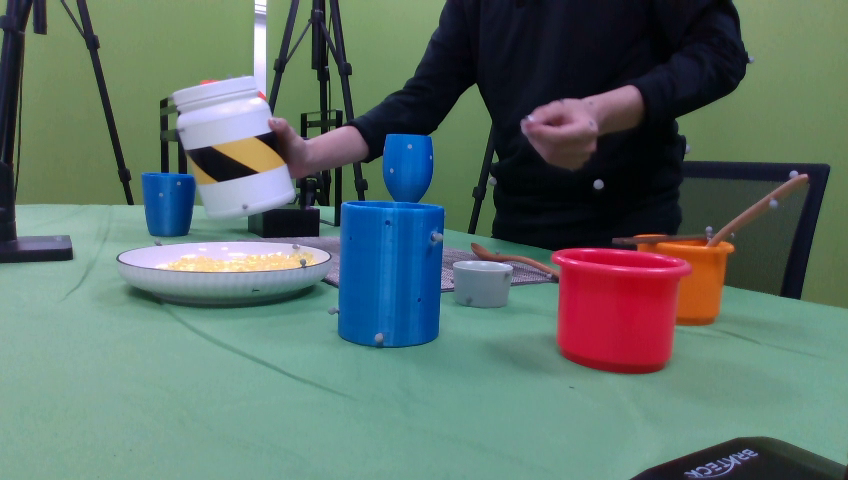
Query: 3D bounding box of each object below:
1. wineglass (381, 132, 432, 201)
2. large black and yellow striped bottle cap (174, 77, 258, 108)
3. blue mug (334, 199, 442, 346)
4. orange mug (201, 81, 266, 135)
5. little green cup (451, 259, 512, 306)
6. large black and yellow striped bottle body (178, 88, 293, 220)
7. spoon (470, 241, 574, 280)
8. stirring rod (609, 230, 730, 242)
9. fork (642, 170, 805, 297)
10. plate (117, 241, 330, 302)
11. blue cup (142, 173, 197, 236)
[{"bbox_3d":[-0.026,-0.061,0.841,0.074,0.172,0.073,2,8,0],"label":"wineglass"},{"bbox_3d":[-0.296,-0.211,0.862,0.115,0.019,0.115,-13,15,4],"label":"large black and yellow striped bottle cap"},{"bbox_3d":[-0.034,0.020,0.498,0.083,0.106,0.116,0,7,-20],"label":"blue mug"},{"bbox_3d":[-0.377,-0.260,1.198,0.126,0.101,0.083,-3,8,-7],"label":"orange mug"},{"bbox_3d":[0.057,0.043,0.612,0.061,0.038,0.061,3,7,0],"label":"little green cup"},{"bbox_3d":[-0.278,-0.133,0.886,0.131,0.184,0.130,-12,15,4],"label":"large black and yellow striped bottle body"},{"bbox_3d":[0.124,0.025,0.800,0.042,0.021,0.192,23,-5,-34],"label":"spoon"},{"bbox_3d":[0.241,-0.004,0.582,0.177,0.006,0.014,-3,9,-33],"label":"stirring rod"},{"bbox_3d":[0.261,0.004,0.545,0.028,0.018,0.207,5,-37,-15],"label":"fork"},{"bbox_3d":[-0.203,0.031,0.630,0.209,0.038,0.209,3,7,0],"label":"plate"},{"bbox_3d":[-0.425,-0.060,1.014,0.093,0.100,0.092,4,9,0],"label":"blue cup"}]
